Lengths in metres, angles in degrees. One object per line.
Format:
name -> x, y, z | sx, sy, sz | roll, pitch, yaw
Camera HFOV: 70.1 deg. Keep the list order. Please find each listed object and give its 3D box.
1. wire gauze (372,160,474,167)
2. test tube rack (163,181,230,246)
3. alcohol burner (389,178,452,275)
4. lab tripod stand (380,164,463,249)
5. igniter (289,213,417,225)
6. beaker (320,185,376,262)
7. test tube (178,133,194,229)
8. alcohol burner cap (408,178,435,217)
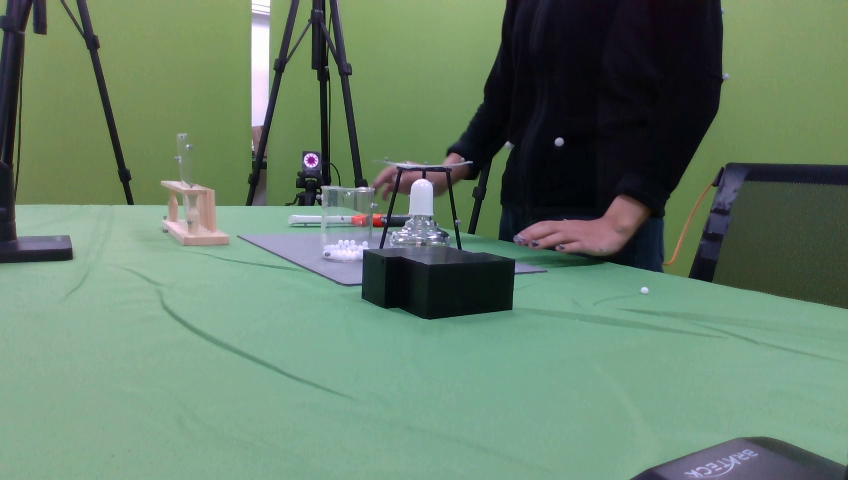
wire gauze -> -0.004, -0.122, 0.959 | 0.122, 0.011, 0.124 | -4, 9, -33
test tube rack -> -0.387, -0.050, 1.015 | 0.067, 0.085, 0.241 | -2, 9, -30
alcohol burner -> -0.004, -0.017, 0.749 | 0.078, 0.119, 0.078 | 1, 9, 0
lab tripod stand -> -0.003, -0.055, 0.967 | 0.148, 0.131, 0.148 | 3, 9, 0
igniter -> -0.144, -0.044, 1.275 | 0.278, 0.025, 0.057 | -1, -2, -27
beaker -> -0.105, -0.024, 0.826 | 0.074, 0.100, 0.084 | 2, 7, -7
test tube -> -0.367, -0.089, 0.939 | 0.017, 0.150, 0.017 | -2, 8, 1
alcohol burner cap -> -0.002, -0.053, 0.746 | 0.034, 0.048, 0.034 | 2, 3, 0
